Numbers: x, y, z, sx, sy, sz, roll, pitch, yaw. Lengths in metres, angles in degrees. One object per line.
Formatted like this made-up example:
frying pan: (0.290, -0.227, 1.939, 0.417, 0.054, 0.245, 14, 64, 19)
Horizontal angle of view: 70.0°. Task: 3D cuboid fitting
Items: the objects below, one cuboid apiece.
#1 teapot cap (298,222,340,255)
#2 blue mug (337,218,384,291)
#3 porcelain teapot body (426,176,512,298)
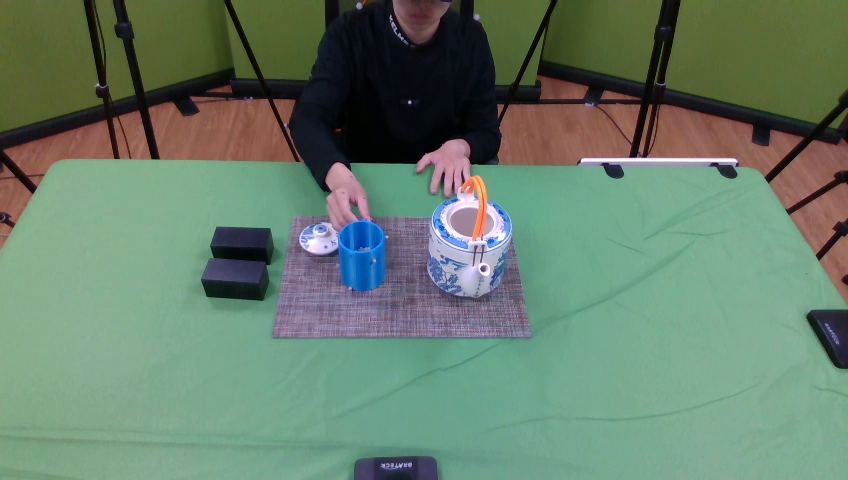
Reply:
teapot cap: (-0.201, -0.008, 1.171, 0.085, 0.044, 0.084, 1, 48, -1)
blue mug: (-0.114, 0.018, 1.111, 0.082, 0.106, 0.116, 2, 46, -2)
porcelain teapot body: (0.085, 0.009, 1.051, 0.145, 0.226, 0.204, -5, 47, -9)
